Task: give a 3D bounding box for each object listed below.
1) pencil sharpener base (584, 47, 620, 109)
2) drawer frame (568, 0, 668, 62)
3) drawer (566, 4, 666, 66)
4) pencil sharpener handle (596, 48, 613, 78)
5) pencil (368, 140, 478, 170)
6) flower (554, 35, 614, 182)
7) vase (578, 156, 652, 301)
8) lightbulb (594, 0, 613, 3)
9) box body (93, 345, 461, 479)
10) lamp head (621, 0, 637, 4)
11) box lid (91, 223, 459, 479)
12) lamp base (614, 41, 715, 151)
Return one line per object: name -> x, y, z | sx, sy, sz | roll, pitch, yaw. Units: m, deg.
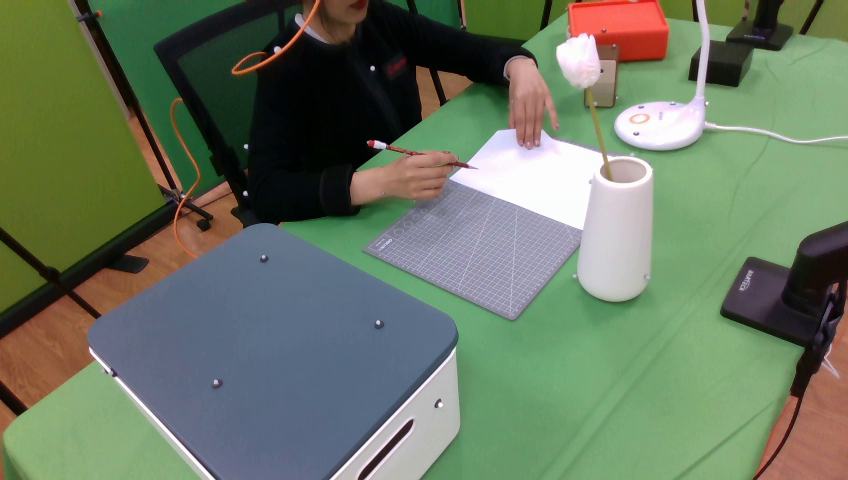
pencil sharpener base -> 0.367, -0.336, 1.249 | 0.061, 0.107, 0.076 | 6, 42, 19
drawer frame -> 0.450, -0.496, 1.441 | 0.213, 0.083, 0.201 | -1, 40, 9
drawer -> 0.447, -0.493, 1.441 | 0.211, 0.073, 0.194 | 0, 40, 10
pencil sharpener handle -> 0.382, -0.378, 1.277 | 0.036, 0.068, 0.030 | 4, 41, 21
pencil -> 0.001, -0.140, 1.008 | 0.195, 0.012, 0.012 | 11, 37, -17
flower -> 0.237, -0.083, 0.774 | 0.044, 0.363, 0.038 | -22, 26, 7
vase -> 0.261, -0.011, 0.812 | 0.098, 0.201, 0.097 | -4, 40, 4
lightbulb -> 0.305, -0.437, 0.977 | 0.060, 0.107, 0.059 | 12, 44, -11
box body -> -0.162, 0.170, 0.708 | 0.361, 0.161, 0.255 | 25, 50, 34
lamp head -> 0.319, -0.453, 0.962 | 0.113, 0.123, 0.112 | 20, 33, -13
box lid -> -0.174, 0.103, 0.667 | 0.368, 0.015, 0.264 | 24, 48, 35
lamp base -> 0.449, -0.277, 1.106 | 0.179, 0.181, 0.160 | 1, 41, 9
